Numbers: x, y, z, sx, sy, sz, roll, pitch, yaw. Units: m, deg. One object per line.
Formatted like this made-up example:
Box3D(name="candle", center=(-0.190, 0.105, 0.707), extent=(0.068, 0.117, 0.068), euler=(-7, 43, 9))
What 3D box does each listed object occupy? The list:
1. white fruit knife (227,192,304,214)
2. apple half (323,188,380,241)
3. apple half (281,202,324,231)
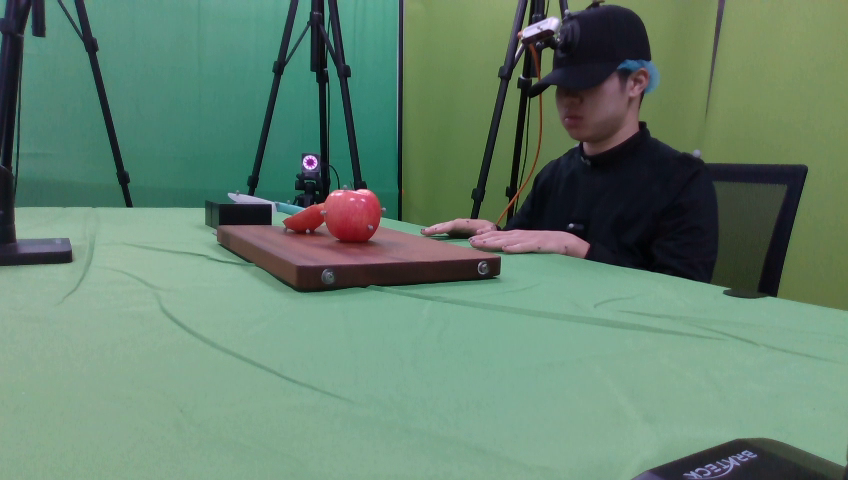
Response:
Box3D(name="white fruit knife", center=(-0.303, -0.069, 1.242), extent=(0.208, 0.027, 0.016), euler=(14, 3, -37))
Box3D(name="apple half", center=(-0.094, -0.034, 0.840), extent=(0.081, 0.074, 0.053), euler=(1, 10, -38))
Box3D(name="apple half", center=(-0.175, -0.033, 0.927), extent=(0.081, 0.033, 0.081), euler=(-21, 0, 1))
